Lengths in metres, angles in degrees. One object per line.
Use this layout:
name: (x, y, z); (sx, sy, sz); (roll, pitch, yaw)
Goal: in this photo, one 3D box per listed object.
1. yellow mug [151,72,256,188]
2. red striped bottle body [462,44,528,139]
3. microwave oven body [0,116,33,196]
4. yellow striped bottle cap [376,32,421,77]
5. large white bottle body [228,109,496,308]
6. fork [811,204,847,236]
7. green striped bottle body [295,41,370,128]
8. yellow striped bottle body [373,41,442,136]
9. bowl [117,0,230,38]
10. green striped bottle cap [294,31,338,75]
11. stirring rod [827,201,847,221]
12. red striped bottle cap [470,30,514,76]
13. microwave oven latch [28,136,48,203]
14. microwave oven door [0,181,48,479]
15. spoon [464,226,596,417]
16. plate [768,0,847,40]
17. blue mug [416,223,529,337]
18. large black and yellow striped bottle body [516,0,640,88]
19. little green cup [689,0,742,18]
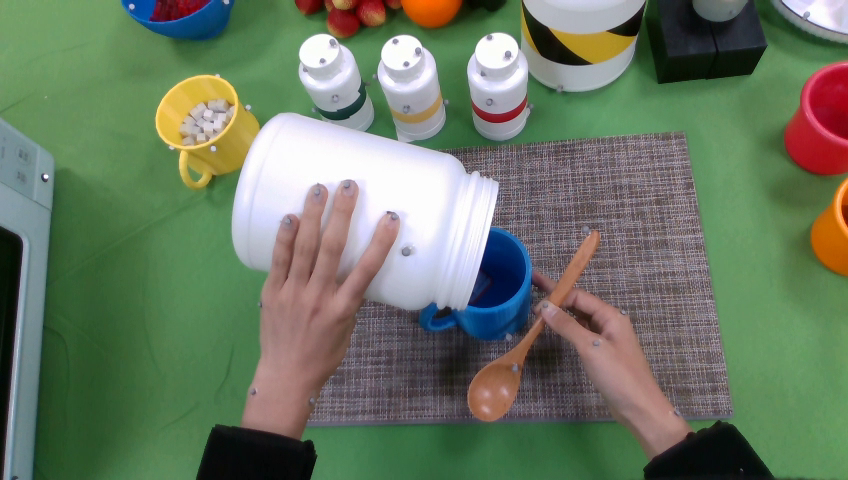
yellow mug: (-0.262, -0.124, 0.713); (0.100, 0.064, 0.130); (6, 71, 11)
red striped bottle body: (0.077, -0.166, 0.650); (0.063, 0.121, 0.062); (-5, 65, 12)
microwave oven body: (-0.599, 0.076, 0.578); (0.326, 0.262, 0.438); (-12, 69, 3)
yellow striped bottle cap: (-0.026, -0.190, 0.617); (0.044, 0.019, 0.044); (-2, 68, 5)
large white bottle body: (-0.044, -0.020, 0.486); (0.185, 0.131, 0.130); (15, 72, 0)
fork: (0.432, 0.002, 0.518); (0.028, 0.019, 0.205); (-40, 25, -7)
green striped bottle body: (-0.103, -0.176, 0.680); (0.063, 0.120, 0.062); (-3, 69, 7)
yellow striped bottle body: (-0.018, -0.171, 0.665); (0.063, 0.121, 0.062); (-3, 68, 8)
bowl: (-0.309, -0.319, 0.787); (0.151, 0.077, 0.150); (-3, 69, 7)
green striped bottle cap: (-0.112, -0.195, 0.632); (0.044, 0.020, 0.044); (-2, 69, 6)
stirring rod: (0.403, 0.001, 0.530); (0.014, 0.006, 0.175); (-1, 26, 5)
red striped bottle cap: (0.068, -0.186, 0.602); (0.044, 0.018, 0.044); (-1, 68, 4)
microwave oven latch: (-0.471, -0.082, 0.722); (0.030, 0.030, 0.078); (-10, 69, 4)
microwave oven door: (-0.450, 0.083, 0.549); (0.039, 0.246, 0.353); (-12, 68, 4)
spoon: (0.095, 0.072, 0.525); (0.041, 0.021, 0.194); (32, 103, 3)
plate: (0.482, -0.309, 0.688); (0.209, 0.038, 0.207); (-3, 70, 7)
blue mug: (0.044, 0.049, 0.576); (0.116, 0.107, 0.081); (-31, 67, -4)
large black and yellow striped bottle body: (0.162, -0.264, 0.639); (0.130, 0.185, 0.130); (-3, 69, 8)
little green cup: (0.312, -0.269, 0.642); (0.061, 0.039, 0.061); (-2, 67, 5)
